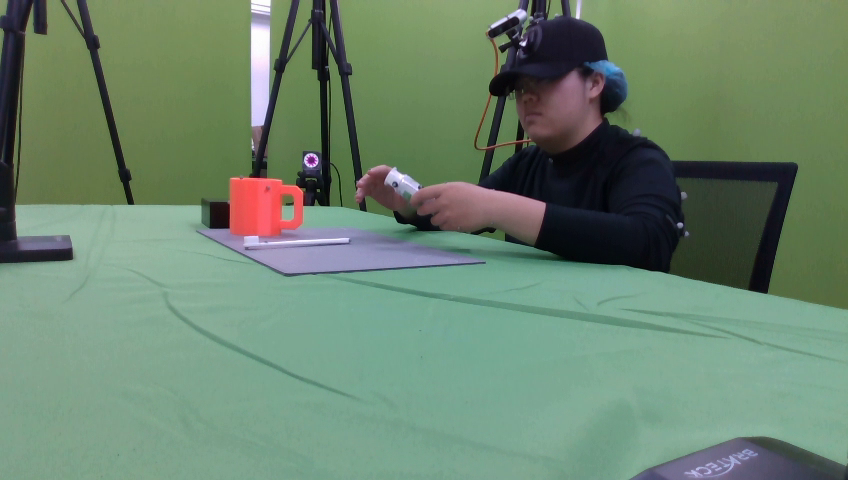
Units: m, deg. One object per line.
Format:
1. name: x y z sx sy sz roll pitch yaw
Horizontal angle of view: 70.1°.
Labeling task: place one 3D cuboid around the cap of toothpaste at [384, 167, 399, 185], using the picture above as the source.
1. cap of toothpaste: -0.053 -0.106 1.017 0.011 0.037 0.037 34 12 7

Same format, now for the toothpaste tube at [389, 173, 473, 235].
1. toothpaste tube: 0.011 -0.062 1.005 0.165 0.034 0.055 34 -6 6

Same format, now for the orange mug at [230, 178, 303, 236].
1. orange mug: -0.276 -0.060 1.058 0.126 0.101 0.083 -2 8 -5

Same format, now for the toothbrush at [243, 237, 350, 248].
1. toothbrush: -0.191 0.001 0.927 0.183 0.016 0.014 -2 -7 -41
